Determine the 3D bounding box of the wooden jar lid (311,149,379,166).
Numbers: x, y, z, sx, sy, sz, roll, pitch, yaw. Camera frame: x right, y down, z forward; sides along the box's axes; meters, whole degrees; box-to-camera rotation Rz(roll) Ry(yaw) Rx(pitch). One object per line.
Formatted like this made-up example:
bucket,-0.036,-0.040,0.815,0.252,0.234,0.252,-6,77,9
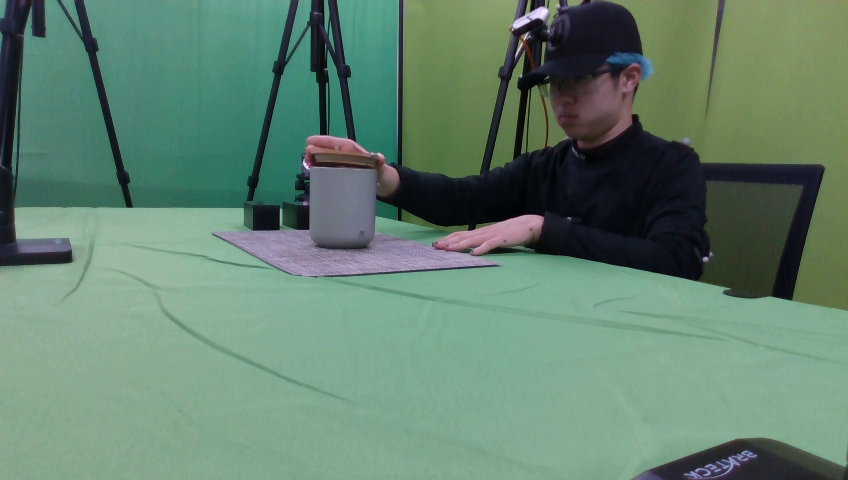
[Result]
wooden jar lid,-0.126,-0.130,0.960,0.108,0.020,0.108,5,3,0

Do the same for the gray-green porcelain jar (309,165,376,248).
gray-green porcelain jar,-0.130,-0.054,0.965,0.106,0.126,0.106,2,7,0
